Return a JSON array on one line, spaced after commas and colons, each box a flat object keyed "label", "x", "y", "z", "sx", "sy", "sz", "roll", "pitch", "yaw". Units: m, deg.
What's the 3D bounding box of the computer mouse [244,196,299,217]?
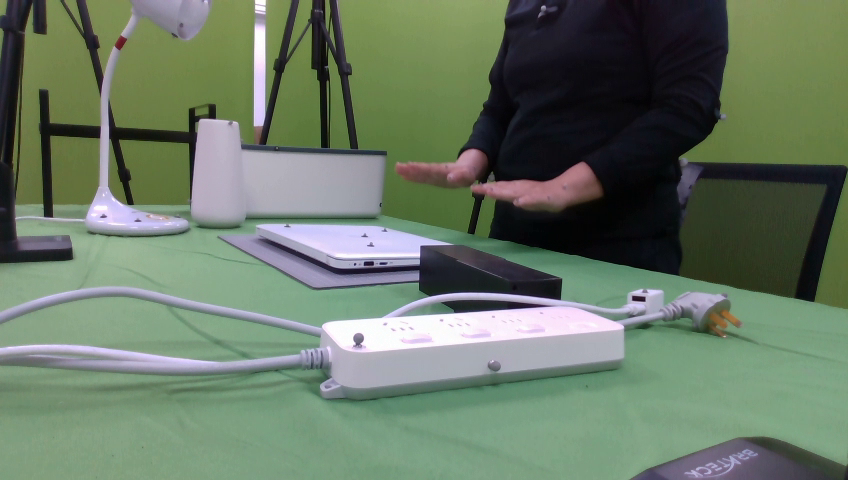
[{"label": "computer mouse", "x": -0.346, "y": -0.077, "z": 1.372, "sx": 0.118, "sy": 0.041, "sz": 0.062, "roll": -11, "pitch": 18, "yaw": -33}]

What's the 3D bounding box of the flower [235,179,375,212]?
[{"label": "flower", "x": -0.264, "y": -0.092, "z": 1.417, "sx": 0.364, "sy": 0.044, "sz": 0.038, "roll": 8, "pitch": 48, "yaw": -39}]

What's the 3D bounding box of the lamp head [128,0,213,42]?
[{"label": "lamp head", "x": -0.423, "y": -0.394, "z": 0.980, "sx": 0.123, "sy": 0.112, "sz": 0.112, "roll": 20, "pitch": 7, "yaw": -3}]

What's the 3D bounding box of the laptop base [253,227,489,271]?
[{"label": "laptop base", "x": -0.096, "y": 0.011, "z": 0.911, "sx": 0.237, "sy": 0.023, "sz": 0.352, "roll": 2, "pitch": 6, "yaw": -32}]

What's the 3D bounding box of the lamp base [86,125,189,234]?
[{"label": "lamp base", "x": -0.497, "y": -0.105, "z": 1.027, "sx": 0.179, "sy": 0.180, "sz": 0.160, "roll": 1, "pitch": 7, "yaw": 2}]

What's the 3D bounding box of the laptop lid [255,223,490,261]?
[{"label": "laptop lid", "x": -0.093, "y": 0.000, "z": 0.911, "sx": 0.243, "sy": 0.013, "sz": 0.355, "roll": 1, "pitch": 7, "yaw": -30}]

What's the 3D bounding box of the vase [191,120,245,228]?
[{"label": "vase", "x": -0.389, "y": -0.124, "z": 1.142, "sx": 0.098, "sy": 0.200, "sz": 0.098, "roll": 3, "pitch": 9, "yaw": 0}]

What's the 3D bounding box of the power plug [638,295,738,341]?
[{"label": "power plug", "x": 0.235, "y": 0.077, "z": 0.535, "sx": 0.072, "sy": 0.035, "sz": 0.052, "roll": -33, "pitch": 39, "yaw": -6}]

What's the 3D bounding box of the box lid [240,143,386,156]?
[{"label": "box lid", "x": -0.304, "y": -0.217, "z": 1.463, "sx": 0.373, "sy": 0.015, "sz": 0.262, "roll": -2, "pitch": 8, "yaw": -30}]

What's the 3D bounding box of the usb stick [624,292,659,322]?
[{"label": "usb stick", "x": 0.211, "y": 0.064, "z": 0.581, "sx": 0.021, "sy": 0.027, "sz": 0.059, "roll": -1, "pitch": -4, "yaw": 36}]

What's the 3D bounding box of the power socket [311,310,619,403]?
[{"label": "power socket", "x": 0.034, "y": 0.074, "z": 0.415, "sx": 0.228, "sy": 0.032, "sz": 0.072, "roll": -1, "pitch": 7, "yaw": -24}]

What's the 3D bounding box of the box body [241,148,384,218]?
[{"label": "box body", "x": -0.306, "y": -0.144, "z": 1.474, "sx": 0.366, "sy": 0.160, "sz": 0.253, "roll": -1, "pitch": 9, "yaw": -30}]
